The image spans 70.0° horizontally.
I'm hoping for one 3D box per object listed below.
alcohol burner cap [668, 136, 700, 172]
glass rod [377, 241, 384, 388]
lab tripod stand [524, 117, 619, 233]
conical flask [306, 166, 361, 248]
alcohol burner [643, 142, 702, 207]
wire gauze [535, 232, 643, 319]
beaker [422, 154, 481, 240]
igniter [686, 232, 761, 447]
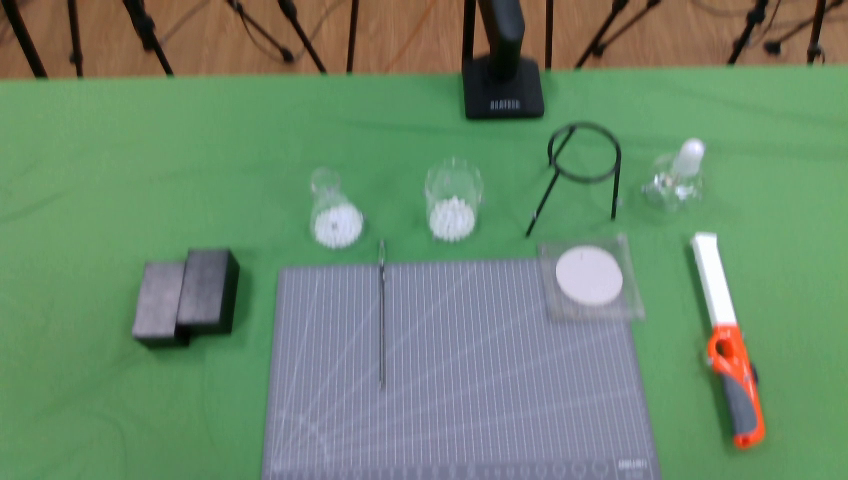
[{"bbox_3d":[0.339,-0.114,0.784,0.034,0.048,0.033,-2,60,4],"label":"alcohol burner cap"},{"bbox_3d":[-0.056,0.090,0.772,0.008,0.008,0.198,-2,63,-2],"label":"glass rod"},{"bbox_3d":[0.192,-0.082,0.795,0.148,0.132,0.147,0,65,0],"label":"lab tripod stand"},{"bbox_3d":[-0.123,-0.047,0.781,0.075,0.123,0.074,0,62,0],"label":"conical flask"},{"bbox_3d":[0.340,-0.096,0.815,0.078,0.120,0.077,0,65,1],"label":"alcohol burner"},{"bbox_3d":[0.216,0.047,0.798,0.125,0.011,0.120,-3,63,-2],"label":"wire gauze"},{"bbox_3d":[0.034,-0.053,0.799,0.074,0.101,0.083,0,62,0],"label":"beaker"},{"bbox_3d":[0.372,0.115,0.756,0.057,0.025,0.274,4,63,-9],"label":"igniter"}]
